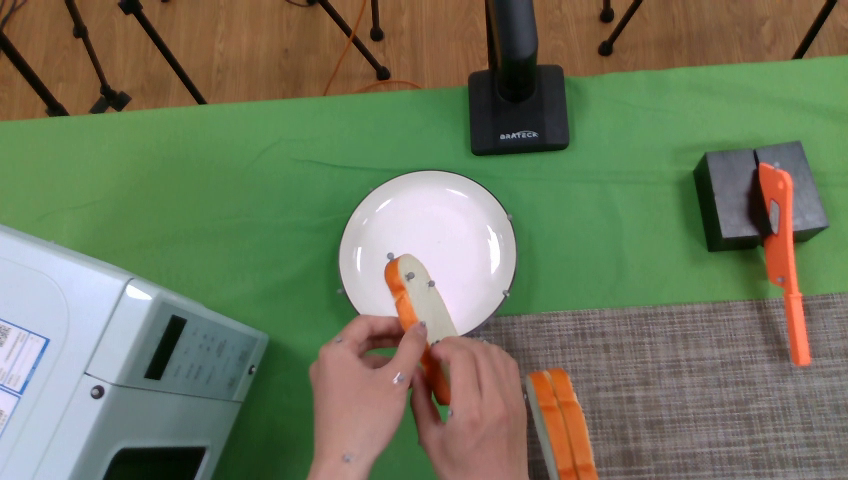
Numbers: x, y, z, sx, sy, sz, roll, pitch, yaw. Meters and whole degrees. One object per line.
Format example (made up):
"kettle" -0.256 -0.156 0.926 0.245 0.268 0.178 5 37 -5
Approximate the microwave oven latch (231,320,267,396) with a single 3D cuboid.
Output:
"microwave oven latch" -0.203 0.132 0.675 0.030 0.030 0.079 19 77 12

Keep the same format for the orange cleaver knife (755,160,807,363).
"orange cleaver knife" 0.370 0.020 0.632 0.012 0.077 0.211 -8 93 7

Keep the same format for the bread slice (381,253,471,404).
"bread slice" 0.002 0.076 0.547 0.018 0.107 0.134 -25 91 12

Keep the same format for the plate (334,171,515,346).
"plate" 0.002 0.022 0.702 0.207 0.039 0.206 -2 73 6

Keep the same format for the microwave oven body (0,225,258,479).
"microwave oven body" -0.413 0.221 0.572 0.325 0.262 0.440 17 77 12

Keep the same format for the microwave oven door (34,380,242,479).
"microwave oven door" -0.292 0.300 0.527 0.039 0.245 0.354 17 76 13
